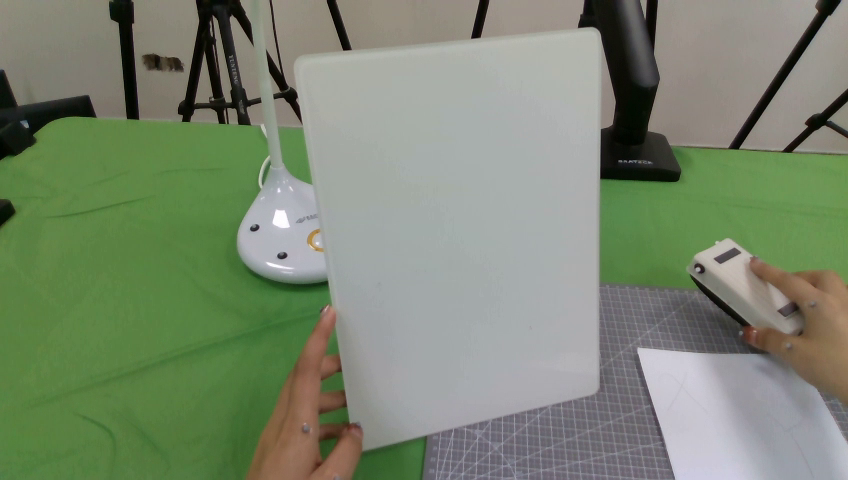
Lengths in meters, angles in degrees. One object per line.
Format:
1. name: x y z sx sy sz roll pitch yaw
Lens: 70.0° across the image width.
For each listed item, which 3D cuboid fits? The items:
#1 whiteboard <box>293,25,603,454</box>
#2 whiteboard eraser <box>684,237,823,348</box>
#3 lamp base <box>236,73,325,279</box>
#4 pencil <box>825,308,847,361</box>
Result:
1. whiteboard: 0.019 -0.011 0.515 0.218 0.307 0.142 -9 20 -12
2. whiteboard eraser: 0.304 0.048 0.567 0.055 0.042 0.111 -25 52 -20
3. lamp base: -0.139 -0.077 0.650 0.161 0.182 0.177 -29 44 -33
4. pencil: 0.387 0.130 0.532 0.012 0.012 0.192 7 40 9
